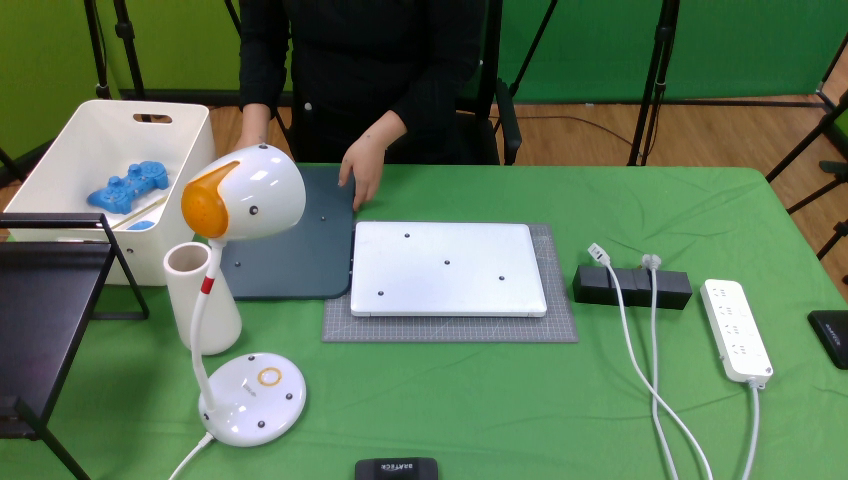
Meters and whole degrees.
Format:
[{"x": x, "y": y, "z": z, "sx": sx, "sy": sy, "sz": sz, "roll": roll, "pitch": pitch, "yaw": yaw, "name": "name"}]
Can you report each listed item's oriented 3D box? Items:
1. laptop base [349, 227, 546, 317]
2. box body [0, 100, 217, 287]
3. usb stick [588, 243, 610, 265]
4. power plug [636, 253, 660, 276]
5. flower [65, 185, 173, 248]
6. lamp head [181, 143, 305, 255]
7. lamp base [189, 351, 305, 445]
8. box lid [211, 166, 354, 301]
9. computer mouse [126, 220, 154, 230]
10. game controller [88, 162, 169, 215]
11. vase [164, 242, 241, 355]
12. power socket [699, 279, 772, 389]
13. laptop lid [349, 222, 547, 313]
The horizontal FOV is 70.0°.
[{"x": 0.040, "y": 0.055, "z": 1.149, "sx": 0.355, "sy": 0.023, "sz": 0.234, "roll": 1, "pitch": 42, "yaw": -4, "name": "laptop base"}, {"x": -0.560, "y": -0.092, "z": 1.144, "sx": 0.254, "sy": 0.161, "sz": 0.361, "roll": 3, "pitch": 46, "yaw": -2, "name": "box body"}, {"x": 0.336, "y": 0.024, "z": 1.172, "sx": 0.027, "sy": 0.021, "sz": 0.059, "roll": 33, "pitch": 17, "yaw": -12, "name": "usb stick"}, {"x": 0.415, "y": 0.050, "z": 1.139, "sx": 0.035, "sy": 0.053, "sz": 0.072, "roll": 46, "pitch": 49, "yaw": 10, "name": "power plug"}, {"x": -0.566, "y": -0.058, "z": 1.199, "sx": 0.044, "sy": 0.038, "sz": 0.361, "roll": 43, "pitch": 52, "yaw": -2, "name": "flower"}, {"x": -0.216, "y": -0.044, "z": 0.697, "sx": 0.112, "sy": 0.113, "sz": 0.123, "roll": 23, "pitch": 31, "yaw": 17, "name": "lamp head"}, {"x": -0.268, "y": 0.196, "z": 0.876, "sx": 0.160, "sy": 0.181, "sz": 0.179, "roll": 26, "pitch": 52, "yaw": 20, "name": "lamp base"}, {"x": -0.276, "y": -0.025, "z": 1.204, "sx": 0.263, "sy": 0.015, "sz": 0.369, "roll": -1, "pitch": 46, "yaw": -3, "name": "box lid"}, {"x": -0.537, "y": 0.008, "z": 1.127, "sx": 0.062, "sy": 0.041, "sz": 0.117, "roll": 32, "pitch": 56, "yaw": 20, "name": "computer mouse"}, {"x": -0.597, "y": -0.113, "z": 1.234, "sx": 0.097, "sy": 0.052, "sz": 0.155, "roll": 29, "pitch": 51, "yaw": 20, "name": "game controller"}, {"x": -0.349, "y": 0.096, "z": 0.954, "sx": 0.098, "sy": 0.201, "sz": 0.097, "roll": 3, "pitch": 47, "yaw": -3, "name": "vase"}, {"x": 0.551, "y": 0.157, "z": 1.081, "sx": 0.072, "sy": 0.033, "sz": 0.225, "roll": 5, "pitch": 46, "yaw": 1, "name": "power socket"}, {"x": 0.041, "y": 0.045, "z": 1.143, "sx": 0.357, "sy": 0.013, "sz": 0.240, "roll": 2, "pitch": 44, "yaw": -3, "name": "laptop lid"}]
